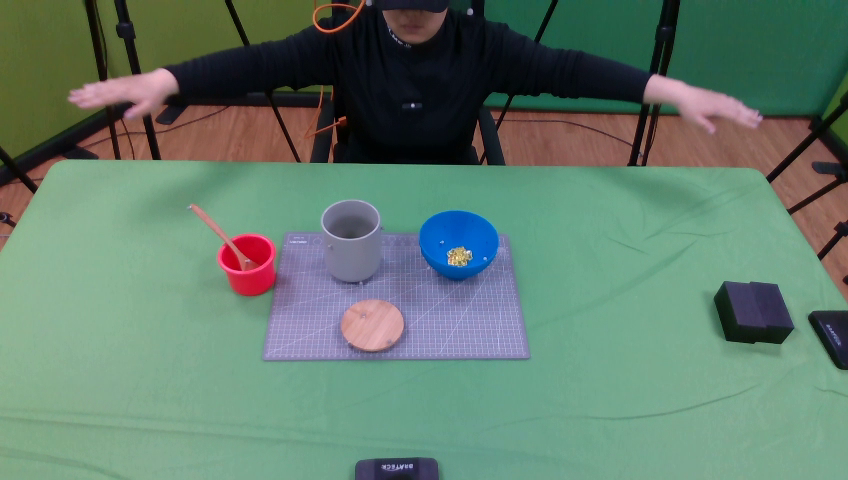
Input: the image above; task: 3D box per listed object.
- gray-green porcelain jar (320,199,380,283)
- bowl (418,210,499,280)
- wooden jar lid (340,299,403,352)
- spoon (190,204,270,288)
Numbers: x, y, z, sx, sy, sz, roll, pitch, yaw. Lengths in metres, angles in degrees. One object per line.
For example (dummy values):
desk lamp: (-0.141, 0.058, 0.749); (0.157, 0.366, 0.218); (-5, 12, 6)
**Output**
gray-green porcelain jar: (-0.133, 0.007, 1.106); (0.106, 0.127, 0.105); (2, 46, -2)
bowl: (0.062, 0.022, 1.140); (0.151, 0.077, 0.150); (2, 46, -2)
wooden jar lid: (-0.090, 0.150, 1.046); (0.108, 0.021, 0.107); (3, 47, -3)
spoon: (-0.345, 0.009, 1.079); (0.194, 0.021, 0.041); (54, 51, -15)
